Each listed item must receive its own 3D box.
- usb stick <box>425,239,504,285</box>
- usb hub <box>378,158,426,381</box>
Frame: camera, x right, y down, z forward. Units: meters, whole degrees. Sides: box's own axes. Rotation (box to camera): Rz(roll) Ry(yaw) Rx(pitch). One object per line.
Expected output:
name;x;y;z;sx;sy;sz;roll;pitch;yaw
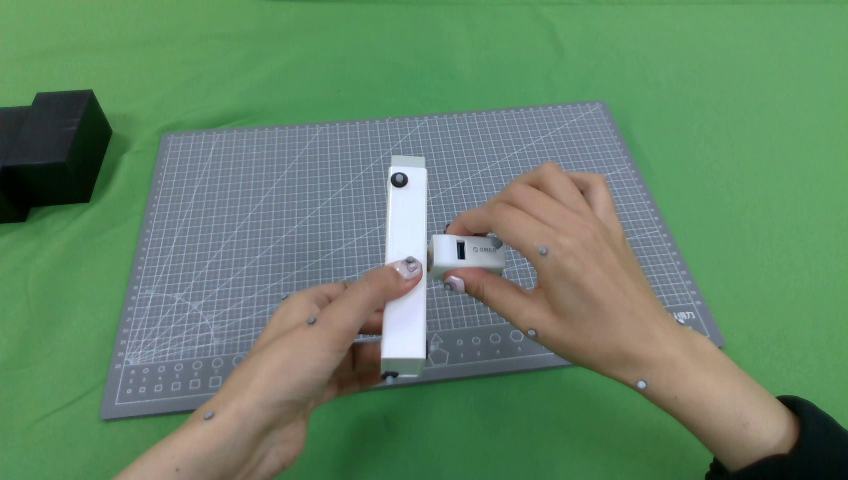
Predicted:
usb stick;0.017;0.014;0.368;0.059;0.027;0.021;-2;63;-5
usb hub;-0.013;0.017;0.359;0.025;0.050;0.124;2;66;-3
